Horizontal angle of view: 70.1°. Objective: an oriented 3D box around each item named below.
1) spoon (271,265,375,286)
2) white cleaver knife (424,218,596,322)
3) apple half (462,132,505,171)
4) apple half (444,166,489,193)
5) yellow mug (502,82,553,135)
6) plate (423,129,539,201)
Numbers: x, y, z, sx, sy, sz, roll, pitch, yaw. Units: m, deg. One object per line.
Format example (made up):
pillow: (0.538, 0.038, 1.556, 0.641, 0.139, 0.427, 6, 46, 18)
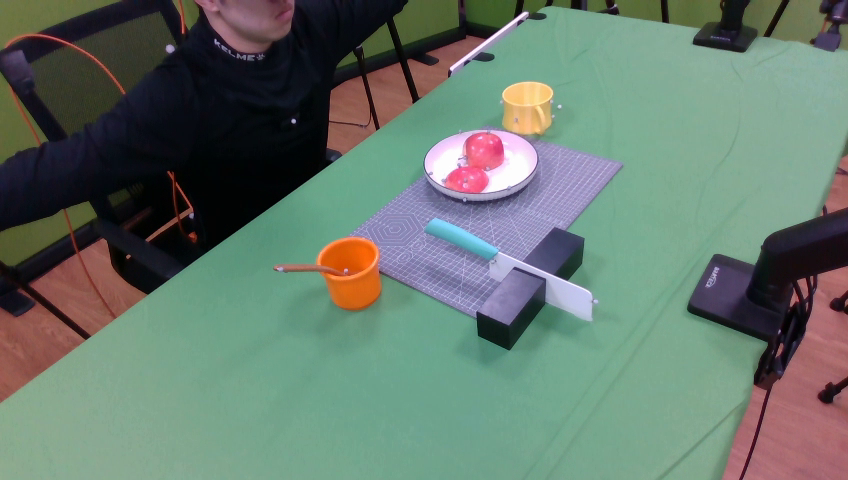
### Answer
spoon: (-0.136, 0.046, 0.839, 0.041, 0.195, 0.021, 24, 94, 35)
white cleaver knife: (0.114, 0.042, 0.865, 0.284, 0.066, 0.021, 27, 47, 28)
apple half: (0.109, -0.169, 1.110, 0.075, 0.053, 0.080, -6, 40, -2)
apple half: (0.074, -0.112, 1.062, 0.081, 0.033, 0.081, -6, 39, 5)
yellow mug: (0.212, -0.256, 1.204, 0.100, 0.064, 0.130, -16, 42, -10)
plate: (0.103, -0.132, 1.092, 0.209, 0.038, 0.208, -4, 40, 4)
